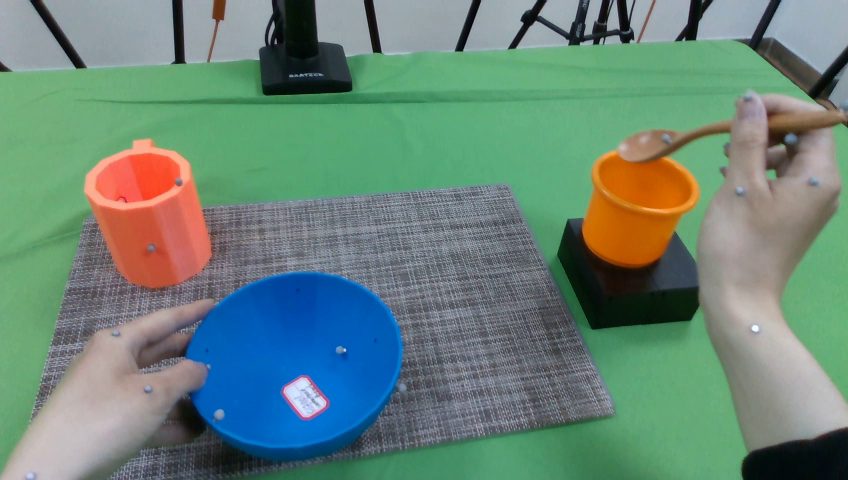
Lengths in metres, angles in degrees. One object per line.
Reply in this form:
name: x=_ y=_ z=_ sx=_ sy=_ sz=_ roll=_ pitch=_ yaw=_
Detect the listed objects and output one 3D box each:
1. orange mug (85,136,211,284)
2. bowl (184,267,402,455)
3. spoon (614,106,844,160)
orange mug: x=-0.253 y=-0.037 z=0.564 sx=0.084 sy=0.101 sz=0.125 roll=-10 pitch=51 yaw=-15
bowl: x=-0.093 y=0.101 z=0.454 sx=0.151 sy=0.077 sz=0.150 roll=3 pitch=44 yaw=-3
spoon: x=0.196 y=-0.076 z=0.421 sx=0.022 sy=0.193 sz=0.041 roll=45 pitch=82 yaw=-13
